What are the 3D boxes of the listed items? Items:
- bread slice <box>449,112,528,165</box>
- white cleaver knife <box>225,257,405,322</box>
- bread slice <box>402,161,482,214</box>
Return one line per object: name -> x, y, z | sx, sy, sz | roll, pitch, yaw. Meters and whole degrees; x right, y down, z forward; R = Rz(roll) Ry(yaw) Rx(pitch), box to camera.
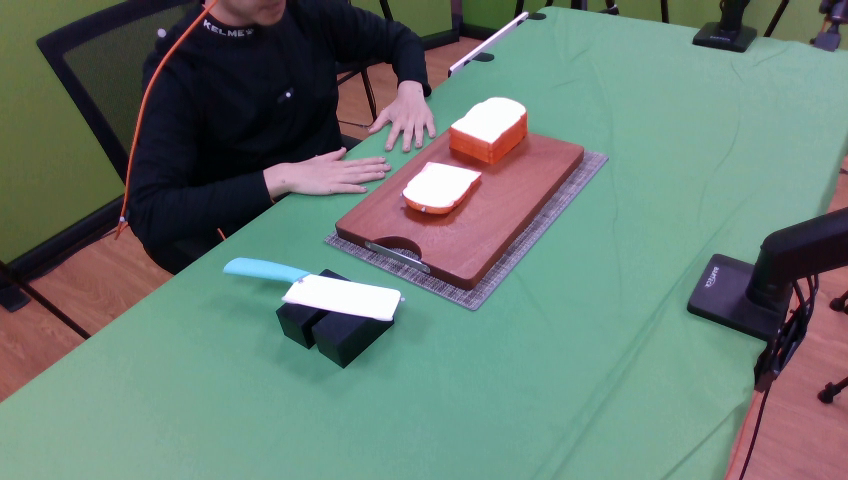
bread slice -> 0.130, -0.197, 1.133 | 0.135, 0.018, 0.106 | -38, 51, -25
white cleaver knife -> -0.165, 0.066, 0.851 | 0.285, 0.021, 0.066 | 9, 43, 21
bread slice -> 0.024, -0.088, 1.020 | 0.104, 0.019, 0.132 | 16, 41, 22
